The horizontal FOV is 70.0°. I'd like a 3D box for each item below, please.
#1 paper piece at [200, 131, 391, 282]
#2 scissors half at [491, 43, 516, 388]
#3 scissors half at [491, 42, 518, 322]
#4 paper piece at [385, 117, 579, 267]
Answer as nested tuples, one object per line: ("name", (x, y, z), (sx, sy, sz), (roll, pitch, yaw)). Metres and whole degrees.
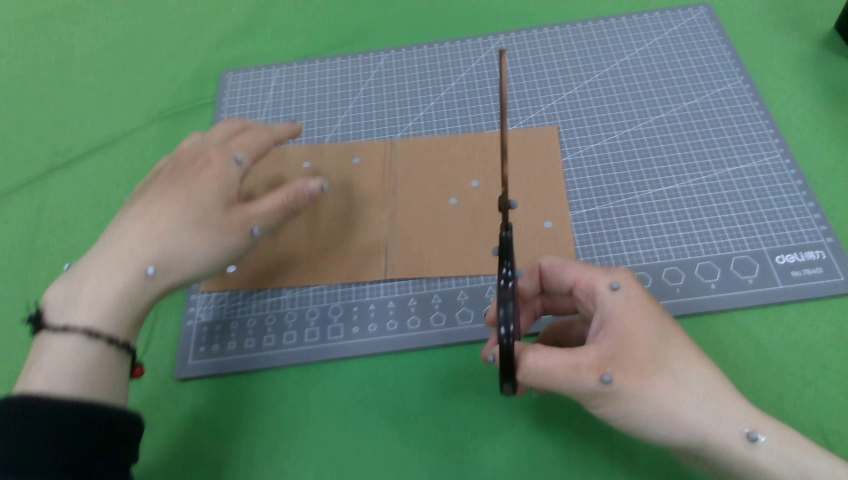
("paper piece", (-0.093, -0.030, 0.463), (0.138, 0.009, 0.134), (-3, 54, 6))
("scissors half", (0.043, -0.008, 0.305), (0.013, 0.040, 0.175), (1, 99, 3))
("scissors half", (0.045, -0.014, 0.324), (0.013, 0.176, 0.040), (3, 27, 8))
("paper piece", (0.039, -0.039, 0.452), (0.135, 0.004, 0.134), (-2, 56, 5))
